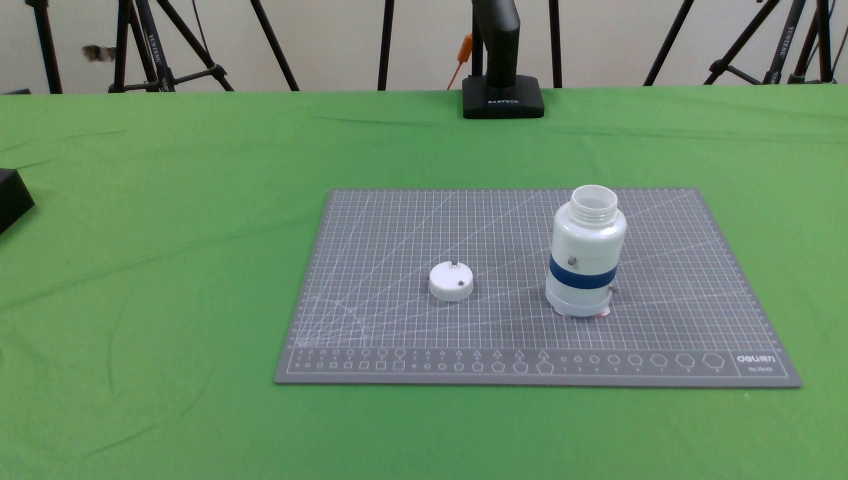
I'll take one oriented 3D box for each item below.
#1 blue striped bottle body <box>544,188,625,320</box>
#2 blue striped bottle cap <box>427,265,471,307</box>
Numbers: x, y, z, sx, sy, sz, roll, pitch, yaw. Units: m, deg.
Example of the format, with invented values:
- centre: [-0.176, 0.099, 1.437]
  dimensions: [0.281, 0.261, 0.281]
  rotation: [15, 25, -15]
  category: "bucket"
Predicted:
- centre: [0.147, 0.011, 0.558]
  dimensions: [0.063, 0.122, 0.062]
  rotation: [-1, 39, 1]
  category: "blue striped bottle body"
- centre: [0.025, 0.046, 0.606]
  dimensions: [0.044, 0.021, 0.044]
  rotation: [0, 38, 0]
  category: "blue striped bottle cap"
